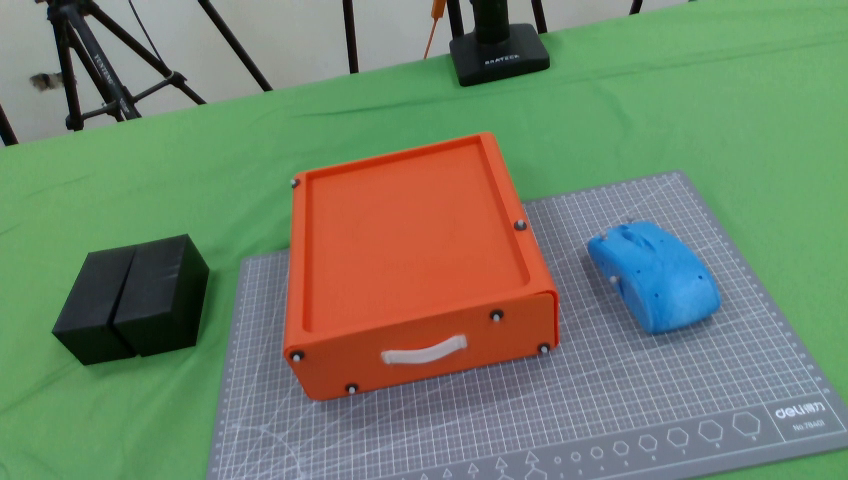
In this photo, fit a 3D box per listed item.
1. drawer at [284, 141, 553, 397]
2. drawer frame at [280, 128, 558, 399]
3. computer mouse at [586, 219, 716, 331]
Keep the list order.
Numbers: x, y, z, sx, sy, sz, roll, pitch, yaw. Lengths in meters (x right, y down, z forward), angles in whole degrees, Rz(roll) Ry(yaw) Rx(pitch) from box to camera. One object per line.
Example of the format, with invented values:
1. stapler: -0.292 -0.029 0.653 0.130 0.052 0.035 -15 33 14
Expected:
1. drawer: -0.012 0.014 0.520 0.194 0.074 0.209 -13 43 2
2. drawer frame: -0.012 0.011 0.521 0.202 0.083 0.211 -13 43 1
3. computer mouse: 0.182 0.021 0.497 0.063 0.041 0.116 -19 40 -2
